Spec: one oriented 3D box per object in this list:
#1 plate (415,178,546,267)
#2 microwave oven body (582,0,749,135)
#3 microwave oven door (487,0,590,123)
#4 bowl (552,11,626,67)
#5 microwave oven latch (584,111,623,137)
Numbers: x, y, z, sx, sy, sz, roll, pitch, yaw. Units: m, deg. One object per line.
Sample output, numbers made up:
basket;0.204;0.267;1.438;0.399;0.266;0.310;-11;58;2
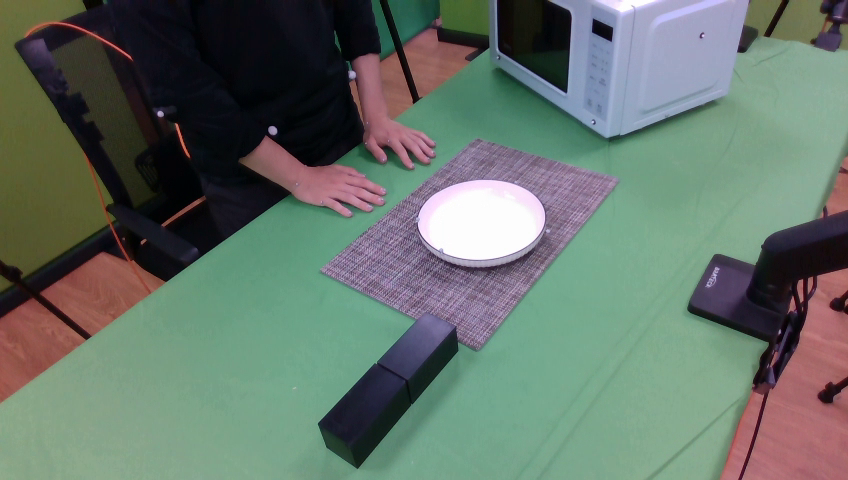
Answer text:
plate;0.091;-0.026;0.970;0.207;0.039;0.206;-4;41;4
microwave oven body;0.382;-0.444;1.246;0.327;0.261;0.437;-22;42;-16
microwave oven door;0.232;-0.420;1.231;0.039;0.245;0.352;-22;43;-16
bowl;0.343;-0.418;1.278;0.151;0.077;0.150;-1;41;1
microwave oven latch;0.337;-0.222;1.142;0.030;0.029;0.078;-21;42;-14
